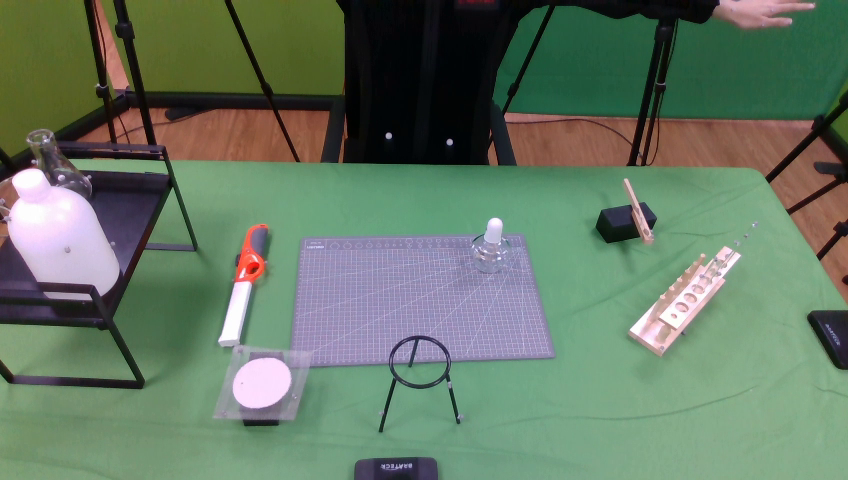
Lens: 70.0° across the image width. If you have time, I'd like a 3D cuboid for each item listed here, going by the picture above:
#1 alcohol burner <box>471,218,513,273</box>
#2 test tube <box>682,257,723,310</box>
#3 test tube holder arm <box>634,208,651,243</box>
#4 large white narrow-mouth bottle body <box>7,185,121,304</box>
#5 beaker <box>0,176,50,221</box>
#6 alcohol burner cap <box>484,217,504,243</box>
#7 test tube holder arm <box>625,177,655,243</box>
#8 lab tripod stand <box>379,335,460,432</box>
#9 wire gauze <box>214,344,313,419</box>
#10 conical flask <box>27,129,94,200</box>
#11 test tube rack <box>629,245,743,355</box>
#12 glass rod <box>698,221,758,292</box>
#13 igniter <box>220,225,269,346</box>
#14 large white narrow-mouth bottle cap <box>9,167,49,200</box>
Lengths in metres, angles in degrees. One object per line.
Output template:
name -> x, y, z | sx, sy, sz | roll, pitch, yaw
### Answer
alcohol burner -> 0.128, 0.005, 1.132 | 0.078, 0.120, 0.077 | 0, 47, 0
test tube -> 0.475, 0.080, 1.037 | 0.017, 0.151, 0.017 | 1, 50, -1
test tube holder arm -> 0.428, -0.030, 1.189 | 0.010, 0.015, 0.087 | 1, 47, -2
large white narrow-mouth bottle body -> -0.482, -0.008, 0.800 | 0.102, 0.195, 0.101 | 2, 46, -2
beaker -> -0.569, -0.035, 0.886 | 0.074, 0.101, 0.083 | -12, 48, -14
alcohol burner cap -> 0.130, -0.021, 1.107 | 0.034, 0.048, 0.033 | 4, 40, -3
test tube holder arm -> 0.433, -0.063, 1.220 | 0.013, 0.015, 0.177 | 1, 47, -3
lab tripod stand -> -0.011, 0.214, 0.911 | 0.148, 0.132, 0.147 | 1, 45, 0
wire gauze -> -0.241, 0.213, 0.916 | 0.121, 0.011, 0.124 | 5, 46, 1
conical flask -> -0.575, -0.113, 0.946 | 0.075, 0.122, 0.075 | 2, 46, -2
test tube rack -> 0.474, 0.095, 1.091 | 0.242, 0.085, 0.066 | -34, 56, -31
glass rod -> 0.527, 0.035, 1.060 | 0.008, 0.200, 0.008 | 5, 49, -6
igniter -> -0.323, 0.072, 1.100 | 0.057, 0.025, 0.274 | -6, 46, 5
large white narrow-mouth bottle cap -> -0.479, -0.068, 0.737 | 0.038, 0.024, 0.037 | 2, 46, -2
